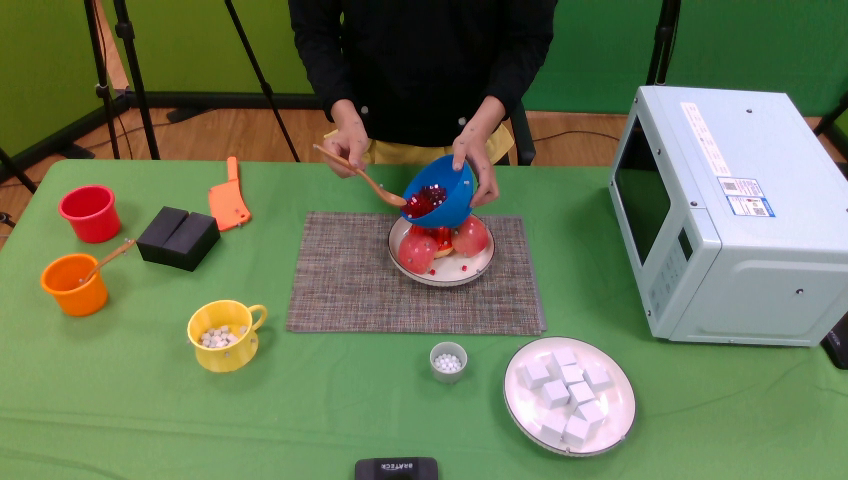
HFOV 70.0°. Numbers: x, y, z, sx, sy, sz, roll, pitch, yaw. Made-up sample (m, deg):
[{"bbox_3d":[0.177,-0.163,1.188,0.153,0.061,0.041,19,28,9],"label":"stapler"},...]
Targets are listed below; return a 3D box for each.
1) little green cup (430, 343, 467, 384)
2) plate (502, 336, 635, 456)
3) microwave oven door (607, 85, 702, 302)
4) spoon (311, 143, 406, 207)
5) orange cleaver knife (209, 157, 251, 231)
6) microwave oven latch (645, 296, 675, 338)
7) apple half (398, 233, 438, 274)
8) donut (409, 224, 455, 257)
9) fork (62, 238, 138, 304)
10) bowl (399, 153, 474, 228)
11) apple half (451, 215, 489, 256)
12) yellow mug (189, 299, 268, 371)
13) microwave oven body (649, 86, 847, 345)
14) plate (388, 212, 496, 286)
[{"bbox_3d":[0.039,0.203,0.994,0.061,0.039,0.061,2,46,-2],"label":"little green cup"},{"bbox_3d":[0.225,0.248,0.964,0.208,0.039,0.206,2,46,-2],"label":"plate"},{"bbox_3d":[0.423,-0.094,1.141,0.039,0.245,0.353,2,46,-1],"label":"microwave oven door"},{"bbox_3d":[-0.110,-0.112,1.041,0.194,0.021,0.041,36,21,-24],"label":"spoon"},{"bbox_3d":[-0.409,-0.099,1.266,0.077,0.012,0.210,-14,50,-9],"label":"orange cleaver knife"},{"bbox_3d":[0.412,0.134,1.061,0.030,0.029,0.078,3,45,0],"label":"microwave oven latch"},{"bbox_3d":[-0.016,0.022,1.123,0.081,0.033,0.081,-2,83,14],"label":"apple half"},{"bbox_3d":[0.020,-0.008,1.174,0.099,0.048,0.098,0,47,0],"label":"donut"},{"bbox_3d":[-0.547,0.053,1.018,0.207,0.019,0.028,-36,41,23],"label":"fork"},{"bbox_3d":[0.037,-0.073,1.081,0.151,0.077,0.150,-32,34,25],"label":"bowl"},{"bbox_3d":[0.092,-0.013,1.158,0.075,0.053,0.080,34,39,-28],"label":"apple half"},{"bbox_3d":[-0.316,0.148,1.002,0.131,0.064,0.099,-33,56,-31],"label":"yellow mug"},{"bbox_3d":[0.568,-0.053,1.118,0.326,0.261,0.439,2,45,-1],"label":"microwave oven body"},{"bbox_3d":[0.033,0.014,1.171,0.209,0.038,0.208,2,46,-2],"label":"plate"}]
